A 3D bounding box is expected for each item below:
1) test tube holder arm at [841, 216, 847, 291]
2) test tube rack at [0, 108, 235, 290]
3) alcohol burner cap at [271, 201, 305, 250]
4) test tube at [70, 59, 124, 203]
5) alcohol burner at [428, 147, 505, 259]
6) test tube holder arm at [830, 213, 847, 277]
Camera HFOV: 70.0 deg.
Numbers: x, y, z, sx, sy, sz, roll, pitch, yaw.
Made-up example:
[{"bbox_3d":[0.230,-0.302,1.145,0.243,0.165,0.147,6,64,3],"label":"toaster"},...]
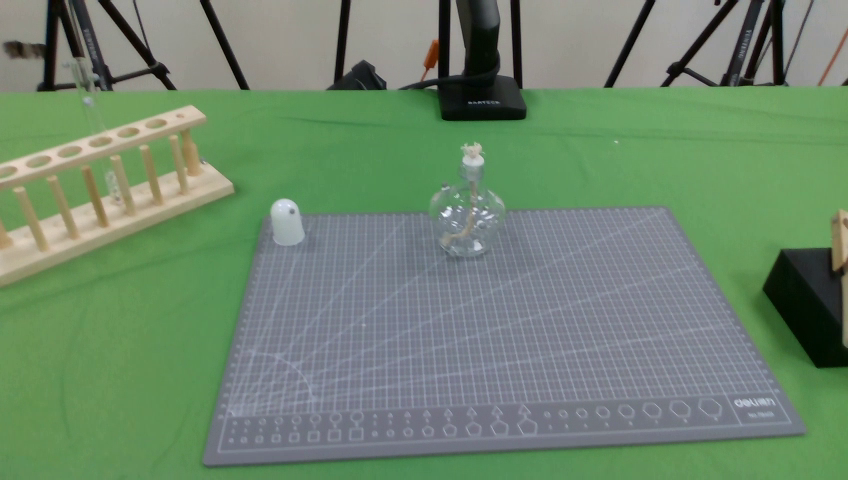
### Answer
[{"bbox_3d":[0.368,0.032,0.520,0.013,0.015,0.177,17,42,15],"label":"test tube holder arm"},{"bbox_3d":[-0.326,-0.050,0.619,0.242,0.086,0.066,-29,47,-33],"label":"test tube rack"},{"bbox_3d":[-0.140,-0.018,0.616,0.034,0.048,0.033,2,40,-1],"label":"alcohol burner cap"},{"bbox_3d":[-0.326,-0.105,0.608,0.017,0.151,0.017,1,33,0],"label":"test tube"},{"bbox_3d":[0.043,-0.040,0.593,0.078,0.120,0.077,2,40,-1],"label":"alcohol burner"},{"bbox_3d":[0.381,0.004,0.553,0.010,0.015,0.087,18,43,17],"label":"test tube holder arm"}]
